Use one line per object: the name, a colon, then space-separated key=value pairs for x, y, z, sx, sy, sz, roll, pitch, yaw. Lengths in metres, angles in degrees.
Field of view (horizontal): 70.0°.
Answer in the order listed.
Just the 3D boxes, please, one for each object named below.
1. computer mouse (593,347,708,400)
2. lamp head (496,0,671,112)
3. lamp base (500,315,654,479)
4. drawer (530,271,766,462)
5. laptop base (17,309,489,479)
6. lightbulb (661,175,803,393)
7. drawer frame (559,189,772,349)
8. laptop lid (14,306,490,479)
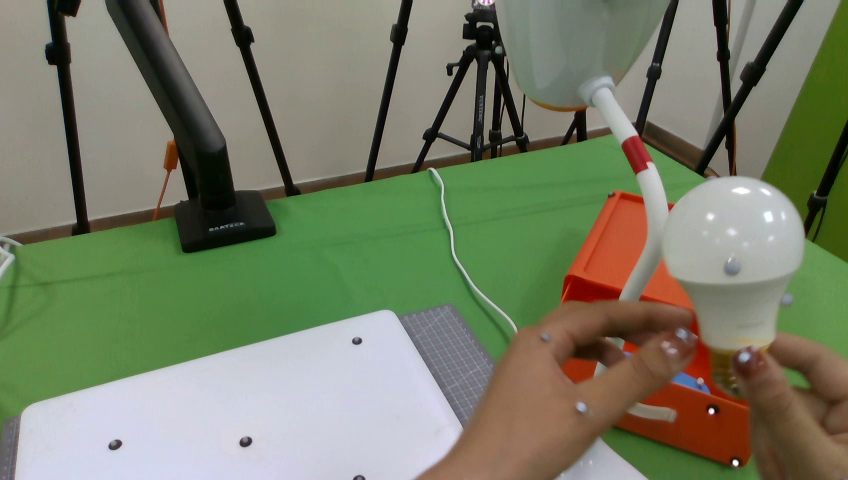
computer mouse: x=0.212 y=0.139 z=0.574 sx=0.117 sy=0.041 sz=0.062 roll=14 pitch=35 yaw=13
lamp head: x=0.097 y=-0.140 z=0.376 sx=0.112 sy=0.124 sz=0.111 roll=-2 pitch=49 yaw=3
lamp base: x=0.126 y=0.155 z=0.423 sx=0.161 sy=0.181 sz=0.177 roll=-1 pitch=32 yaw=-7
drawer: x=0.232 y=0.095 z=0.615 sx=0.193 sy=0.074 sz=0.211 roll=15 pitch=35 yaw=20
laptop base: x=-0.150 y=0.178 z=0.524 sx=0.355 sy=0.023 sz=0.232 roll=-13 pitch=40 yaw=-21
lightbulb: x=0.147 y=0.023 z=0.289 sx=0.059 sy=0.108 sz=0.059 roll=-11 pitch=13 yaw=3
drawer frame: x=0.281 y=0.038 z=0.697 sx=0.200 sy=0.083 sz=0.213 roll=16 pitch=36 yaw=21
laptop lid: x=-0.149 y=0.170 z=0.515 sx=0.358 sy=0.013 sz=0.239 roll=-12 pitch=39 yaw=-20
